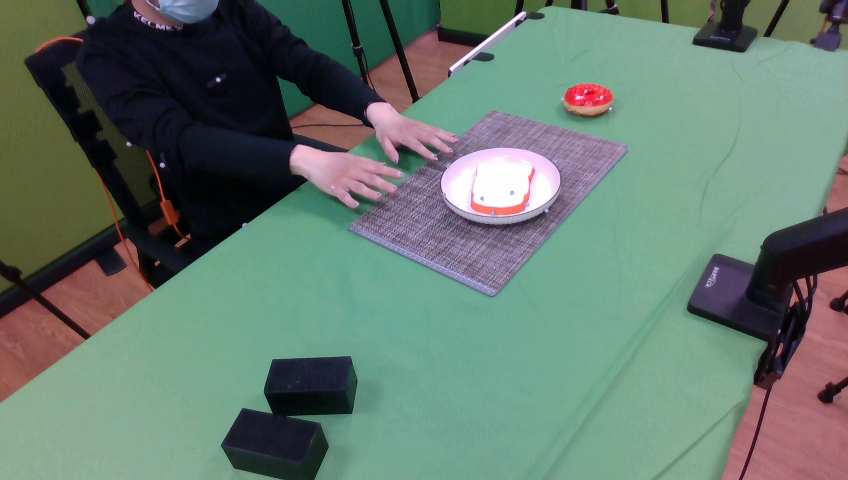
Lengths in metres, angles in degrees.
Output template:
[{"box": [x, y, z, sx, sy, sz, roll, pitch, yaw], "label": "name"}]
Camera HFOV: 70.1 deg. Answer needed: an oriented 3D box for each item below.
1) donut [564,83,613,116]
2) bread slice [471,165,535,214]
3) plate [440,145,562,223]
[{"box": [0.336, -0.288, 1.239, 0.099, 0.048, 0.098, -3, 39, 3], "label": "donut"}, {"box": [0.134, -0.090, 1.038, 0.104, 0.019, 0.131, 3, 41, 13], "label": "bread slice"}, {"box": [0.131, -0.093, 1.040, 0.207, 0.039, 0.206, -4, 41, 4], "label": "plate"}]
